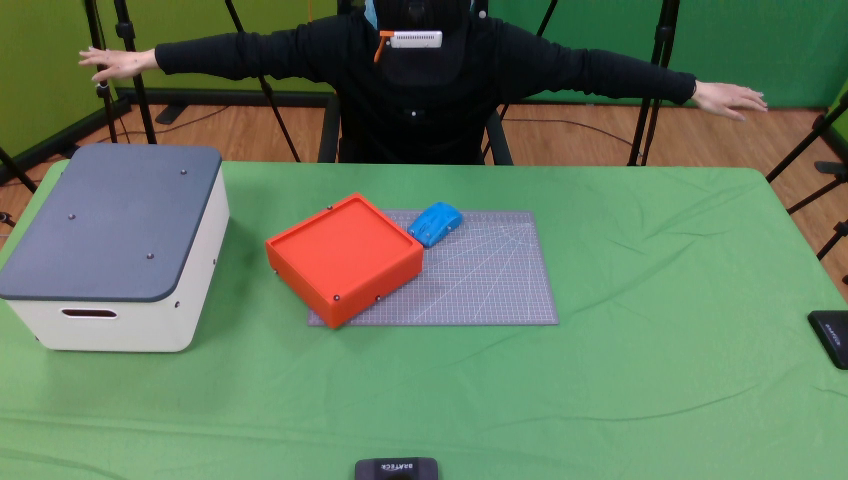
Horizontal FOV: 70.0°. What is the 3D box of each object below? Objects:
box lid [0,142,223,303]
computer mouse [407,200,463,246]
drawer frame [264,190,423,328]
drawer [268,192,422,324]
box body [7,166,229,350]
[{"bbox_3d":[-0.499,-0.045,1.002,0.263,0.015,0.369,2,46,-3],"label":"box lid"},{"bbox_3d":[0.022,-0.037,1.220,0.062,0.041,0.117,37,59,25],"label":"computer mouse"},{"bbox_3d":[-0.144,0.028,1.114,0.213,0.083,0.200,-34,57,-29],"label":"drawer frame"},{"bbox_3d":[-0.143,0.028,1.116,0.212,0.073,0.193,-33,57,-29],"label":"drawer"},{"bbox_3d":[-0.502,0.008,1.054,0.254,0.161,0.361,1,46,-3],"label":"box body"}]
